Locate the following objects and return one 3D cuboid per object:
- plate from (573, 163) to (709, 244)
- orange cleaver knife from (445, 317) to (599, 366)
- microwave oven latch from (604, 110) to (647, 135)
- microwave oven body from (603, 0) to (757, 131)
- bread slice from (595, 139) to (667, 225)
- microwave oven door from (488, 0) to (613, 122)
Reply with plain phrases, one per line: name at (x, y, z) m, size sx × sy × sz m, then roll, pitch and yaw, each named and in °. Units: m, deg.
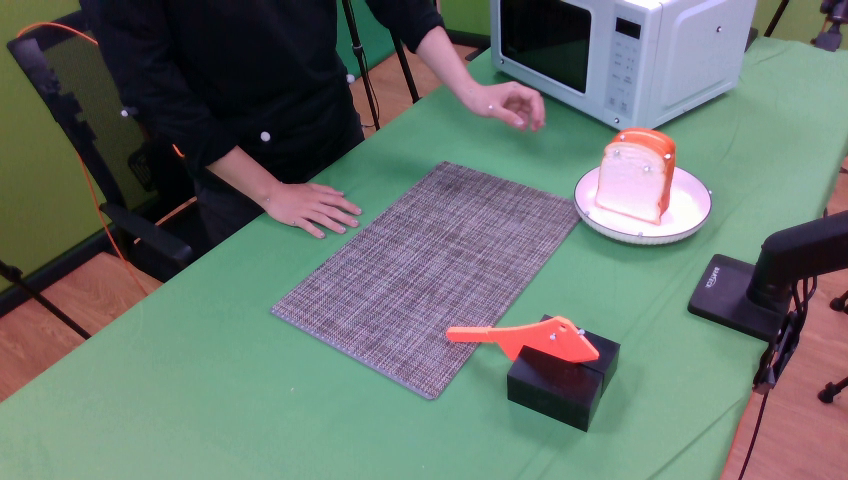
plate at (0.347, -0.059, 0.979) m, size 0.207 × 0.039 × 0.206 m, roll -4°, pitch 41°, yaw 4°
orange cleaver knife at (0.115, 0.129, 0.751) m, size 0.210 × 0.077 × 0.012 m, roll -11°, pitch 30°, yaw 45°
microwave oven latch at (0.378, -0.225, 1.139) m, size 0.030 × 0.029 × 0.078 m, roll -27°, pitch 44°, yaw -20°
microwave oven body at (0.396, -0.448, 1.248) m, size 0.327 × 0.261 × 0.437 m, roll -27°, pitch 44°, yaw -21°
bread slice at (0.320, -0.093, 0.936) m, size 0.106 × 0.135 × 0.018 m, roll 17°, pitch 44°, yaw 31°
microwave oven door at (0.250, -0.412, 1.219) m, size 0.039 × 0.245 × 0.352 m, roll -27°, pitch 44°, yaw -21°
